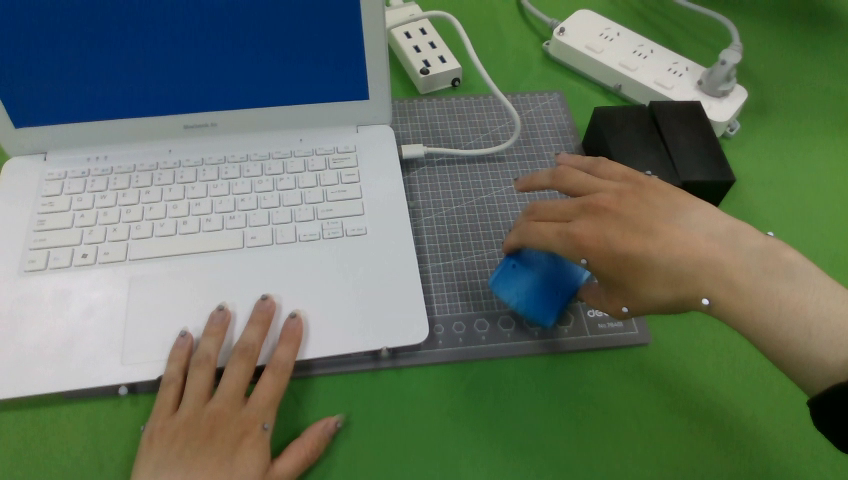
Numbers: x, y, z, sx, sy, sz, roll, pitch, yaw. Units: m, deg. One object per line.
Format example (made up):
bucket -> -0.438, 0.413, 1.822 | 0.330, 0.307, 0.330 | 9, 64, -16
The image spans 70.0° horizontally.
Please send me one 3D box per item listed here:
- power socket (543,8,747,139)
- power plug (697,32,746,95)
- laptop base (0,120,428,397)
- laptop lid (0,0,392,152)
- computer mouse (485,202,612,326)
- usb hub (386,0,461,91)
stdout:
power socket -> 0.236, -0.183, 0.653 | 0.225, 0.033, 0.072 | 36, 60, 20
power plug -> 0.312, -0.173, 0.622 | 0.072, 0.053, 0.035 | -34, 62, -21
laptop base -> -0.187, 0.003, 0.511 | 0.355, 0.023, 0.233 | -6, 60, -7
laptop lid -> -0.206, -0.182, 0.495 | 0.357, 0.244, 0.013 | -7, 43, -6
computer mouse -> 0.103, 0.013, 0.484 | 0.062, 0.041, 0.117 | 37, 56, 15
usb hub -> -0.008, -0.217, 0.667 | 0.049, 0.025, 0.124 | -19, 59, -15
